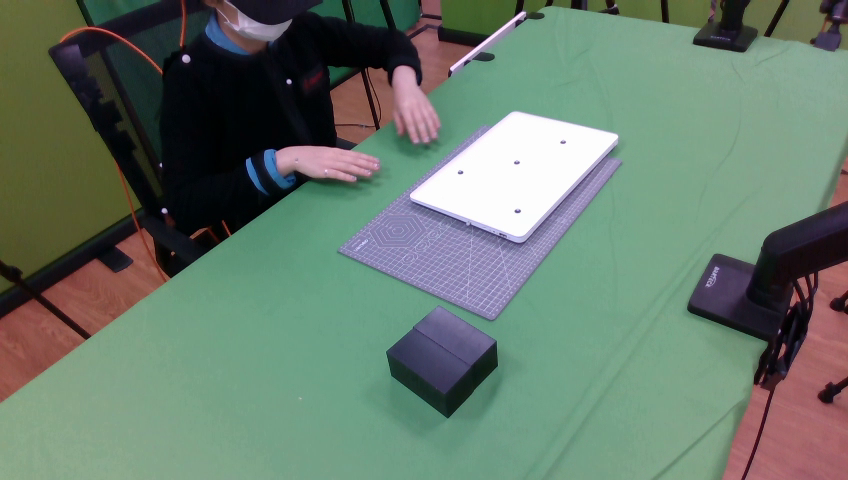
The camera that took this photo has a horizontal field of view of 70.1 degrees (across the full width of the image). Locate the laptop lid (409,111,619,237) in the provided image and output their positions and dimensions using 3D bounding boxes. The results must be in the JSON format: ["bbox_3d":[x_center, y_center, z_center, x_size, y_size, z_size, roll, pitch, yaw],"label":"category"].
[{"bbox_3d":[0.168,-0.136,1.089,0.239,0.013,0.358,23,48,34],"label":"laptop lid"}]

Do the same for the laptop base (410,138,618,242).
[{"bbox_3d":[0.170,-0.126,1.096,0.233,0.023,0.355,21,47,33],"label":"laptop base"}]
